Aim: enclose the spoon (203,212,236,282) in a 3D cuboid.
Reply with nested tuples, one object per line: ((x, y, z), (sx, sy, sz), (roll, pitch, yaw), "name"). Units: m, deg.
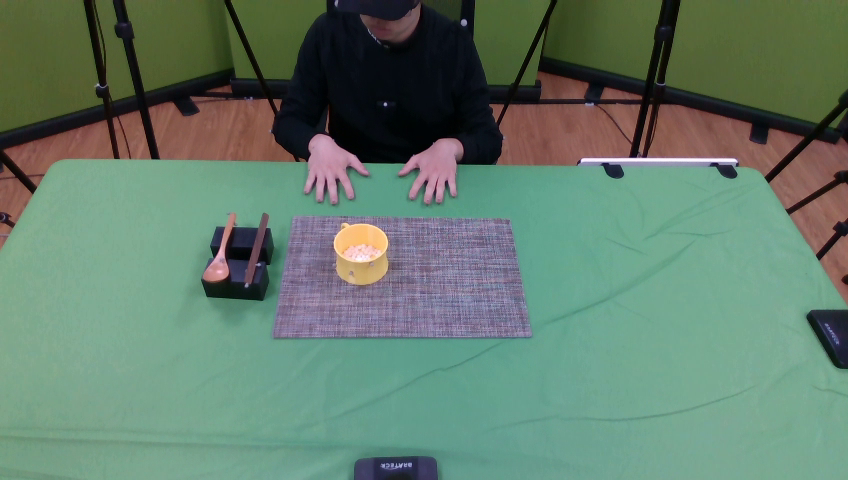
((-0.361, 0.009, 1.097), (0.041, 0.022, 0.192), (0, 44, -3), "spoon")

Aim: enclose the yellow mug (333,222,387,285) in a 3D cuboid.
((-0.127, 0.016, 1.139), (0.100, 0.064, 0.130), (-23, 51, -25), "yellow mug")

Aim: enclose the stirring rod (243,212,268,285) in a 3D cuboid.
((-0.305, 0.012, 1.101), (0.014, 0.006, 0.175), (31, 38, -28), "stirring rod")
